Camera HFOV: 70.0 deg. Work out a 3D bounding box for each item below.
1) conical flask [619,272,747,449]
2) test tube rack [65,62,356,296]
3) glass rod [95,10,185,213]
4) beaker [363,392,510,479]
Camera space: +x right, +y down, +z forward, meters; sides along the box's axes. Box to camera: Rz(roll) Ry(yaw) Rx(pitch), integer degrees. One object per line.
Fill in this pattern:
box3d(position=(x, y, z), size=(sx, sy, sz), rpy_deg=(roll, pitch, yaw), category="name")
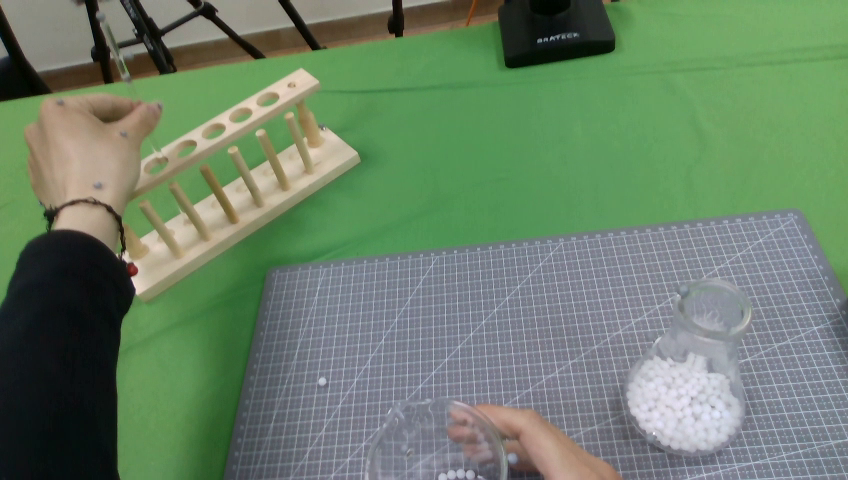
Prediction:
box3d(position=(0.158, 0.068, 0.360), size=(0.075, 0.123, 0.074), rpy_deg=(-6, 51, 8), category="conical flask")
box3d(position=(-0.188, -0.061, 0.567), size=(0.242, 0.086, 0.066), rpy_deg=(-37, 53, -17), category="test tube rack")
box3d(position=(-0.236, -0.098, 0.518), size=(0.008, 0.201, 0.008), rpy_deg=(-1, 46, 2), category="glass rod")
box3d(position=(0.011, 0.141, 0.349), size=(0.074, 0.101, 0.083), rpy_deg=(-30, 51, -13), category="beaker")
